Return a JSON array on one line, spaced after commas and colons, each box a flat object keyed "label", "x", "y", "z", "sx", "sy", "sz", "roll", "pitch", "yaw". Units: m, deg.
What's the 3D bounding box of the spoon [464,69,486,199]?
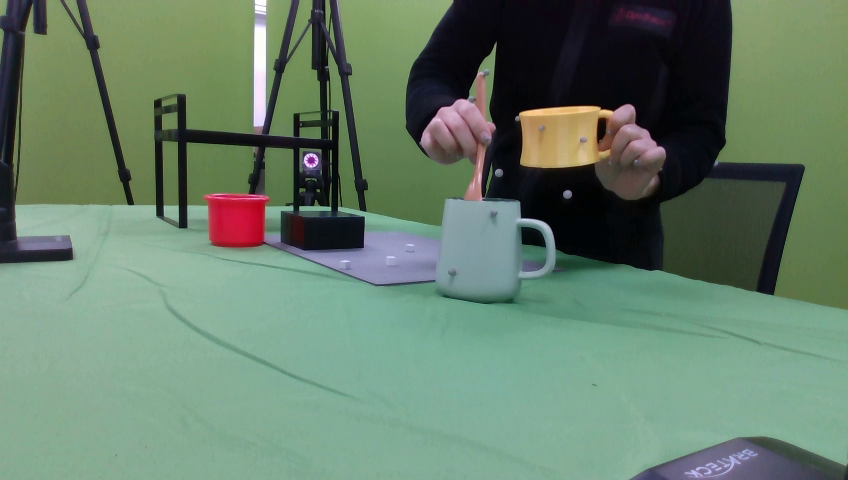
[{"label": "spoon", "x": 0.057, "y": -0.092, "z": 0.642, "sx": 0.022, "sy": 0.193, "sz": 0.041, "roll": 13, "pitch": -18, "yaw": -26}]

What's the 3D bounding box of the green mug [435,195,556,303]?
[{"label": "green mug", "x": 0.074, "y": 0.009, "z": 0.624, "sx": 0.125, "sy": 0.105, "sz": 0.093, "roll": 5, "pitch": 7, "yaw": 23}]

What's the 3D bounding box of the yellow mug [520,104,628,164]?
[{"label": "yellow mug", "x": 0.186, "y": -0.134, "z": 0.755, "sx": 0.130, "sy": 0.064, "sz": 0.100, "roll": 0, "pitch": 16, "yaw": 15}]
